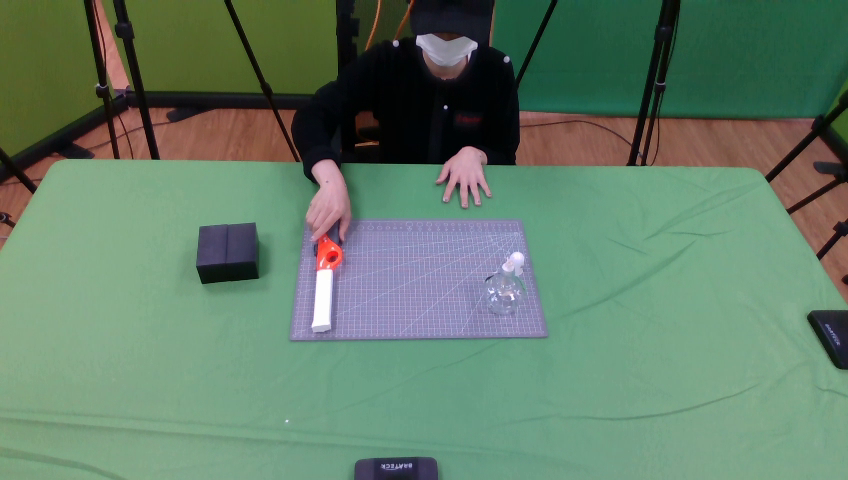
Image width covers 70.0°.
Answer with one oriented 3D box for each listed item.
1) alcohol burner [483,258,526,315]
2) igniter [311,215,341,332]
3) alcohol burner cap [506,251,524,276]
[{"bbox_3d":[0.143,0.076,1.067,0.078,0.120,0.077,1,45,-1],"label":"alcohol burner"},{"bbox_3d":[-0.183,0.052,1.124,0.057,0.025,0.274,-7,46,3],"label":"igniter"},{"bbox_3d":[0.175,0.043,1.151,0.034,0.048,0.033,2,46,-1],"label":"alcohol burner cap"}]
